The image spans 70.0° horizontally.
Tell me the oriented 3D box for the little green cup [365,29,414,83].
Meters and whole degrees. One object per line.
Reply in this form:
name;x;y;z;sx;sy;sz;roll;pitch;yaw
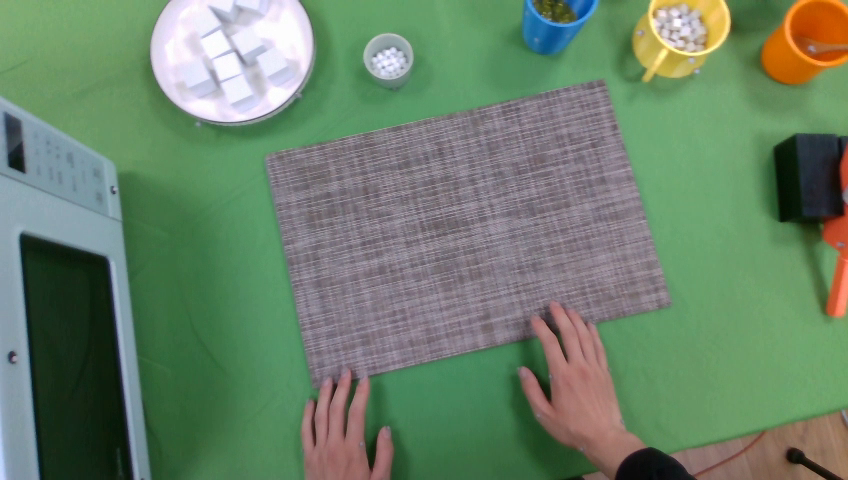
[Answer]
little green cup;-0.043;-0.233;0.775;0.061;0.039;0.061;0;81;1

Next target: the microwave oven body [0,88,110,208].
microwave oven body;-0.507;0.111;0.611;0.326;0.261;0.440;-10;82;-2

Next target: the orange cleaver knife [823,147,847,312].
orange cleaver knife;0.498;-0.019;0.718;0.012;0.077;0.212;2;111;3

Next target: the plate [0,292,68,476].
plate;-0.488;0.157;0.657;0.209;0.038;0.208;0;81;0

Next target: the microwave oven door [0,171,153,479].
microwave oven door;-0.355;0.127;0.602;0.039;0.244;0.354;-10;81;-1

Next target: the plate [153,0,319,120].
plate;-0.236;-0.249;0.778;0.208;0.039;0.207;0;82;0

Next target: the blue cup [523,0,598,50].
blue cup;0.162;-0.284;0.750;0.092;0.100;0.092;0;83;0

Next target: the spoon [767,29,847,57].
spoon;0.506;-0.230;0.716;0.022;0.192;0.041;40;81;-38

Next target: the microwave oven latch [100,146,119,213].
microwave oven latch;-0.390;-0.071;0.734;0.030;0.029;0.079;-8;82;-1

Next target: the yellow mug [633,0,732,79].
yellow mug;0.315;-0.258;0.762;0.100;0.064;0.130;35;84;5

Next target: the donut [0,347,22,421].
donut;-0.484;0.156;0.647;0.099;0.048;0.099;0;91;-3
